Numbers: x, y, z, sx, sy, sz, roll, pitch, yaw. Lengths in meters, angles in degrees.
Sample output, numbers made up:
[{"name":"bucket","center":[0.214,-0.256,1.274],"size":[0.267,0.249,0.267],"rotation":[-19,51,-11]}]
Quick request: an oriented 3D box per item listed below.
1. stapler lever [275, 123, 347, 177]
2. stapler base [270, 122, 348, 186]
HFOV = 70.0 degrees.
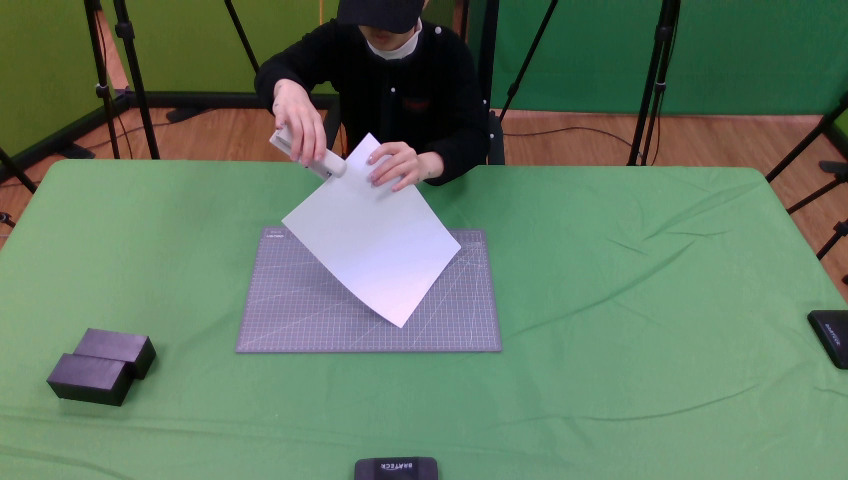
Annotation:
[{"name":"stapler lever","center":[-0.172,-0.139,0.940],"size":[0.118,0.040,0.027],"rotation":[34,74,-15]},{"name":"stapler base","center":[-0.179,-0.137,0.964],"size":[0.131,0.024,0.041],"rotation":[34,74,-15]}]
